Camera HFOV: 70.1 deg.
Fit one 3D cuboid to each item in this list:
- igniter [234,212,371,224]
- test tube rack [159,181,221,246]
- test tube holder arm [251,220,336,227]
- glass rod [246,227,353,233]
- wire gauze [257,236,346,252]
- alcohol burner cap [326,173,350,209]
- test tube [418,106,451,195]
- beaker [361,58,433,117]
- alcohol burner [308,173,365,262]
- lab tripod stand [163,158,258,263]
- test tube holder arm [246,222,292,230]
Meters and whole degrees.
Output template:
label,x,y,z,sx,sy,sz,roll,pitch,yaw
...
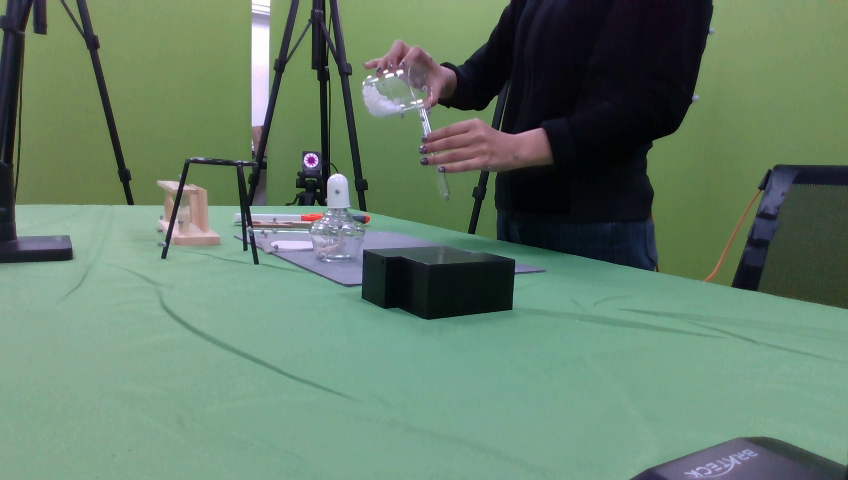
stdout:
label,x,y,z,sx,sy,sz,roll,pitch,yaw
igniter,-0.245,-0.045,1.248,0.278,0.025,0.057,-1,-2,-25
test tube rack,-0.395,-0.050,1.010,0.067,0.085,0.241,-2,8,-28
test tube holder arm,-0.254,-0.031,1.157,0.179,0.015,0.013,-2,44,-31
glass rod,-0.224,-0.017,1.109,0.201,0.008,0.008,1,7,-27
wire gauze,-0.189,0.005,0.931,0.122,0.011,0.124,1,7,-21
alcohol burner cap,-0.117,-0.065,0.808,0.034,0.048,0.034,-3,10,1
test tube,0.016,-0.140,0.943,0.017,0.150,0.017,-15,-13,-3
beaker,-0.046,-0.242,0.986,0.100,0.084,0.074,-7,-5,32
alcohol burner,-0.117,-0.030,0.813,0.078,0.119,0.078,4,9,0
lab tripod stand,-0.265,-0.041,0.802,0.148,0.131,0.148,4,7,0
test tube holder arm,-0.291,-0.026,1.130,0.088,0.015,0.010,-1,44,-30
